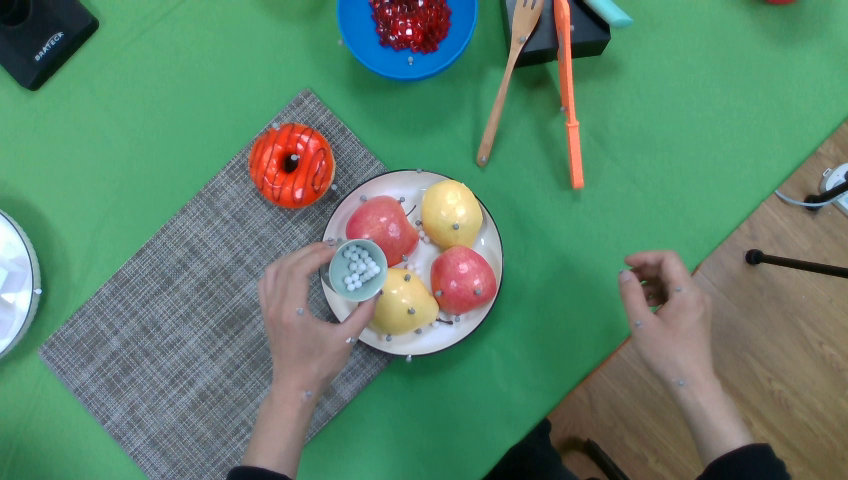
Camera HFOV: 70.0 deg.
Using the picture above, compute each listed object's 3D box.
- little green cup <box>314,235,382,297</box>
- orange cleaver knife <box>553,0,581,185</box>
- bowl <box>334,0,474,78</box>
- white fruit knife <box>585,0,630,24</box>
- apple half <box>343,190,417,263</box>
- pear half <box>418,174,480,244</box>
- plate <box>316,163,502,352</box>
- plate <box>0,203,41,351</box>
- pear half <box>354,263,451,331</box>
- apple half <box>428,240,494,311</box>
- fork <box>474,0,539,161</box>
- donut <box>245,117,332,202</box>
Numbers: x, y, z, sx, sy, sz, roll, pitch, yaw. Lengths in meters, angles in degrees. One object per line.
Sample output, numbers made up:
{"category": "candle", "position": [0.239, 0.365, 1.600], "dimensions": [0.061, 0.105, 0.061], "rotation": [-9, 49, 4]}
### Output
{"category": "little green cup", "position": [-0.077, 0.024, 0.594], "dimensions": [0.062, 0.038, 0.061], "rotation": [-6, 101, -31]}
{"category": "orange cleaver knife", "position": [0.154, -0.167, 0.661], "dimensions": [0.012, 0.076, 0.213], "rotation": [-8, 113, 8]}
{"category": "bowl", "position": [-0.019, -0.247, 0.675], "dimensions": [0.151, 0.077, 0.151], "rotation": [0, 89, 3]}
{"category": "white fruit knife", "position": [0.141, -0.306, 0.651], "dimensions": [0.207, 0.016, 0.027], "rotation": [47, 62, 5]}
{"category": "apple half", "position": [-0.051, -0.014, 0.668], "dimensions": [0.074, 0.053, 0.081], "rotation": [-27, 90, 3]}
{"category": "pear half", "position": [0.024, -0.027, 0.667], "dimensions": [0.070, 0.031, 0.088], "rotation": [-13, 98, 26]}
{"category": "plate", "position": [-0.016, 0.019, 0.682], "dimensions": [0.209, 0.038, 0.209], "rotation": [0, 88, 3]}
{"category": "plate", "position": [-0.548, 0.045, 0.713], "dimensions": [0.207, 0.039, 0.207], "rotation": [0, 88, 3]}
{"category": "pear half", "position": [-0.021, 0.068, 0.667], "dimensions": [0.110, 0.056, 0.076], "rotation": [19, 94, -1]}
{"category": "apple half", "position": [0.033, 0.041, 0.662], "dimensions": [0.081, 0.033, 0.081], "rotation": [5, 104, 21]}
{"category": "fork", "position": [0.088, -0.185, 0.663], "dimensions": [0.028, 0.018, 0.208], "rotation": [14, 109, -4]}
{"category": "donut", "position": [-0.154, -0.091, 0.690], "dimensions": [0.099, 0.048, 0.099], "rotation": [0, 90, 5]}
